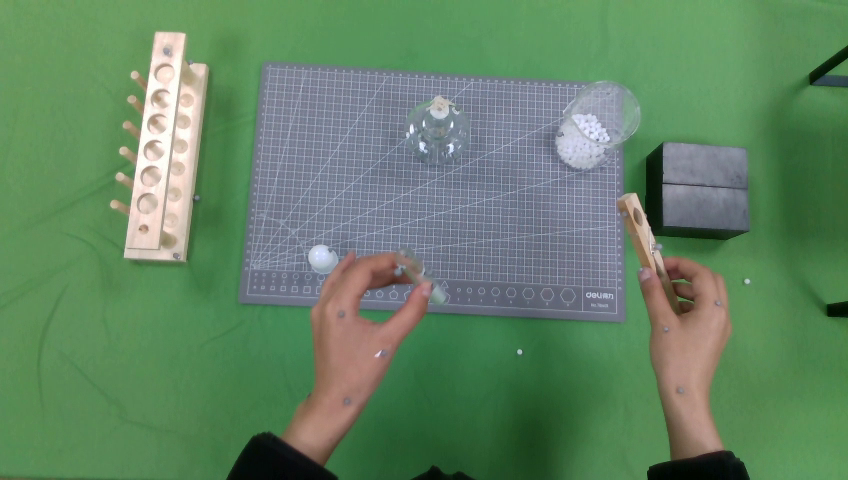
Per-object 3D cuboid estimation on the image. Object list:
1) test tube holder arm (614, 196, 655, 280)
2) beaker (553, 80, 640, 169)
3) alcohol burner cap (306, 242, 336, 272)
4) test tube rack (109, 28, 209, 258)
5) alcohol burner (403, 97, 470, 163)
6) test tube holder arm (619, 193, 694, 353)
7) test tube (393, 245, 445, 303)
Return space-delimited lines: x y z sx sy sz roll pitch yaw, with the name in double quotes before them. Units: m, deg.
"test tube holder arm" 0.203 -0.001 0.577 0.010 0.015 0.088 -31 105 -12
"beaker" 0.192 -0.129 0.701 0.084 0.100 0.073 2 79 -1
"alcohol burner cap" -0.119 0.017 0.687 0.034 0.048 0.033 1 80 -3
"test tube rack" -0.301 -0.106 0.681 0.067 0.085 0.241 3 79 -2
"alcohol burner" 0.014 -0.132 0.685 0.078 0.119 0.077 0 80 -1
"test tube holder arm" 0.228 0.035 0.590 0.013 0.015 0.179 -31 105 -12
"test tube" -0.001 0.033 0.519 0.017 0.151 0.017 -3 72 11
